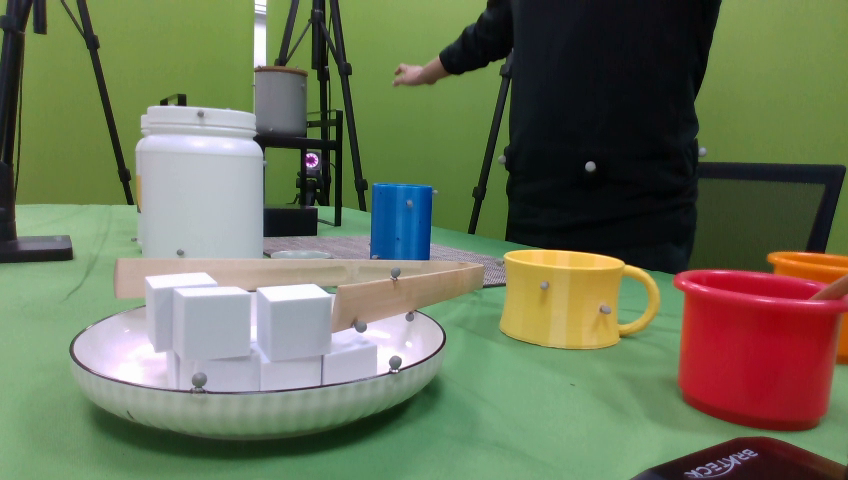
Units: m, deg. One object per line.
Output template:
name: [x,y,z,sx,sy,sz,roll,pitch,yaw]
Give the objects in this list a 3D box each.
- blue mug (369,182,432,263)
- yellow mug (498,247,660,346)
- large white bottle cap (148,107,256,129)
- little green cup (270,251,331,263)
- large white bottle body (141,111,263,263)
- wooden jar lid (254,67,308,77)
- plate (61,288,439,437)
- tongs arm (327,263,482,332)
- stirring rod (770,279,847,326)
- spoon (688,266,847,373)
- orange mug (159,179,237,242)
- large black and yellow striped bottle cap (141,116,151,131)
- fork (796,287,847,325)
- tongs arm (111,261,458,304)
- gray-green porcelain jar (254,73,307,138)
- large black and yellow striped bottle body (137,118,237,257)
blue mug: [-0.027,-0.026,0.835,0.082,0.106,0.117,5,7,19]
yellow mug: [0.130,0.045,0.508,0.131,0.064,0.100,4,7,6]
large white bottle cap: [-0.250,-0.137,0.686,0.115,0.018,0.115,3,8,0]
little green cup: [-0.129,0.034,0.629,0.061,0.038,0.061,2,6,0]
large white bottle body: [-0.254,-0.053,0.697,0.131,0.184,0.130,2,7,0]
wooden jar lid: [-0.296,-0.339,1.251,0.108,0.020,0.108,2,7,0]
plate: [-0.095,0.069,0.362,0.208,0.039,0.207,3,7,0]
tongs arm: [-0.003,0.036,0.493,0.050,0.026,0.386,1,0,19]
stirring rod: [0.349,0.022,0.468,0.014,0.006,0.175,-12,-26,-50]
spoon: [0.216,0.032,0.328,0.042,0.021,0.193,2,-37,-23]
orange mug: [-0.368,-0.051,0.991,0.127,0.101,0.083,-10,14,-41]
large black and yellow striped bottle cap: [-0.328,-0.158,0.837,0.115,0.019,0.115,2,6,0]
fork: [0.324,0.018,0.441,0.028,0.018,0.207,-3,-36,-5]
tongs arm: [-0.080,0.032,0.527,0.028,0.027,0.389,-3,-3,33]
gray-green porcelain jar: [-0.298,-0.277,1.259,0.106,0.126,0.106,3,7,0]
large black and yellow striped bottle body: [-0.330,-0.075,0.849,0.131,0.184,0.130,2,8,0]
